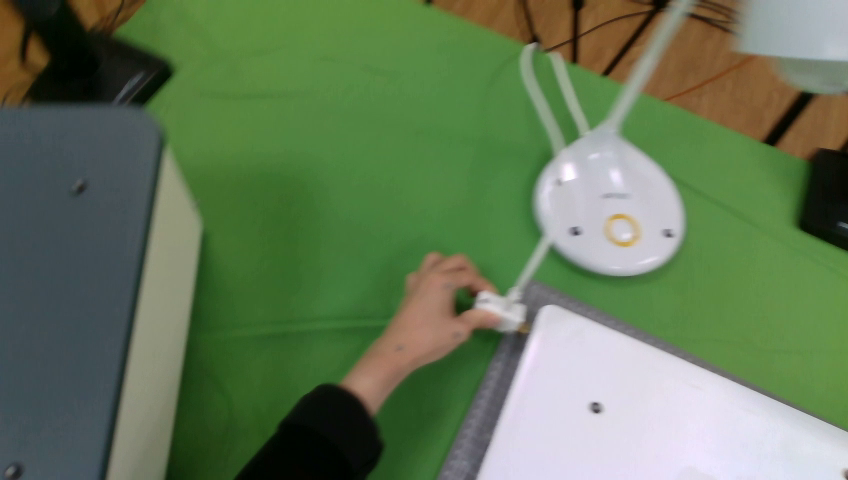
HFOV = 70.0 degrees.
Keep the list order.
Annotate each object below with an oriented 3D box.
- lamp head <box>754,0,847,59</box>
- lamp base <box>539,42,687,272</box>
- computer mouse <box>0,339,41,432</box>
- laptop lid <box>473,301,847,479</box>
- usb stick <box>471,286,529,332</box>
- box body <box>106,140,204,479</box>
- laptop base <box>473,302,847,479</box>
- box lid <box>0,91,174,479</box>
[{"bbox_3d":[0.242,-0.157,0.315,0.112,0.111,0.123,-2,108,-5],"label":"lamp head"},{"bbox_3d":[0.205,-0.085,0.588,0.161,0.181,0.177,-9,62,-9],"label":"lamp base"},{"bbox_3d":[-0.366,0.123,0.503,0.063,0.041,0.116,-25,29,-6],"label":"computer mouse"},{"bbox_3d":[0.228,0.220,0.518,0.356,0.013,0.240,25,67,7],"label":"laptop lid"},{"bbox_3d":[0.076,0.068,0.571,0.059,0.027,0.021,25,43,-9],"label":"usb stick"},{"bbox_3d":[-0.332,0.082,0.470,0.254,0.161,0.361,1,64,-5],"label":"box body"},{"bbox_3d":[0.228,0.223,0.530,0.353,0.023,0.234,24,68,6],"label":"laptop base"},{"bbox_3d":[-0.326,0.048,0.405,0.264,0.015,0.368,1,65,-4],"label":"box lid"}]
